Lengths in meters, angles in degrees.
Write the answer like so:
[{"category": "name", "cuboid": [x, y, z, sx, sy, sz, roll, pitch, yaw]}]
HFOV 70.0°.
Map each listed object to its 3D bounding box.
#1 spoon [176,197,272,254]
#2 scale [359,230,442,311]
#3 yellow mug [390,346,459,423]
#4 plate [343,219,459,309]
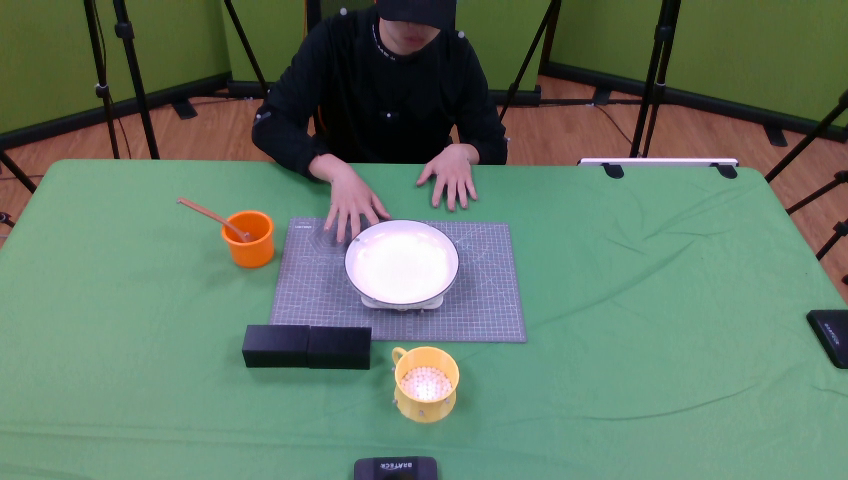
[{"category": "spoon", "cuboid": [-0.362, -0.028, 1.108, 0.021, 0.195, 0.041, -35, 36, 24]}, {"category": "scale", "cuboid": [-0.042, 0.047, 1.138, 0.149, 0.032, 0.199, 2, 46, -3]}, {"category": "yellow mug", "cuboid": [-0.009, 0.217, 0.958, 0.100, 0.064, 0.130, -33, 56, -31]}, {"category": "plate", "cuboid": [-0.041, 0.045, 1.094, 0.209, 0.038, 0.208, 2, 46, -2]}]
